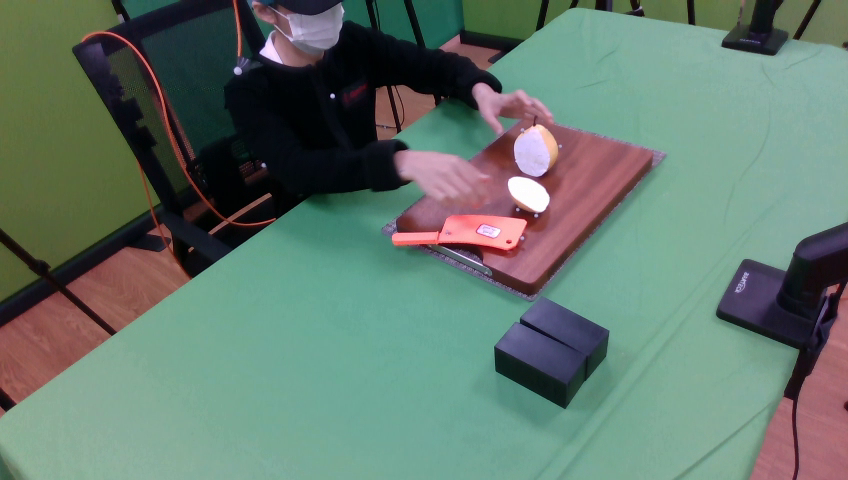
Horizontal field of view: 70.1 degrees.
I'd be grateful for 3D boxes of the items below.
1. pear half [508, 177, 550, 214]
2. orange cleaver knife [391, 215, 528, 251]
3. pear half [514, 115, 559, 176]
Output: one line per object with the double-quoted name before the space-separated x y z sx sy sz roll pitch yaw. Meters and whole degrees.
"pear half" 0.168 -0.066 0.974 0.071 0.031 0.087 -3 49 -16
"orange cleaver knife" 0.055 -0.013 0.943 0.210 0.012 0.077 1 46 14
"pear half" 0.196 -0.169 1.033 0.076 0.110 0.056 22 49 26
